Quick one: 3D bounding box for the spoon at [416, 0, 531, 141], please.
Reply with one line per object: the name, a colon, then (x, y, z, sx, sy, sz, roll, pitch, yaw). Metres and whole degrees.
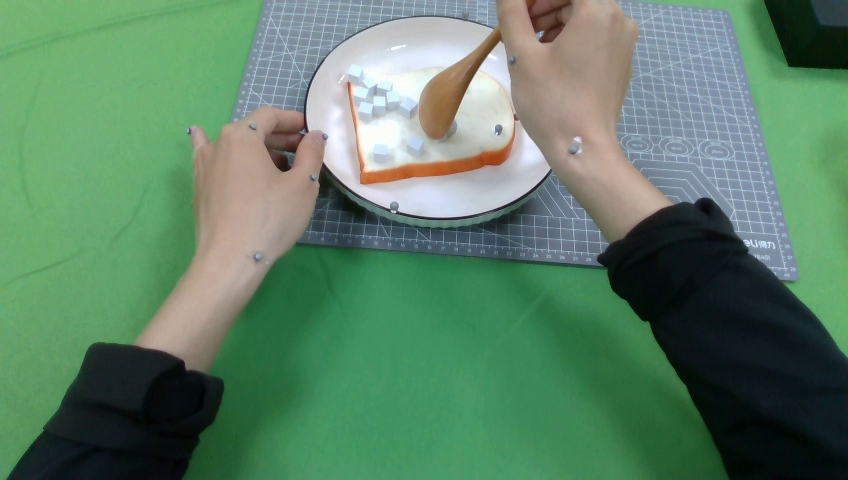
spoon: (0.045, -0.139, 0.406, 0.022, 0.194, 0.041, -1, 54, -43)

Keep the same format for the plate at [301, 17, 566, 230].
plate: (0.007, -0.094, 0.487, 0.209, 0.038, 0.207, 2, 61, -3)

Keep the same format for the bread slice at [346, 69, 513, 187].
bread slice: (0.005, -0.097, 0.492, 0.132, 0.019, 0.104, -10, 62, -7)
